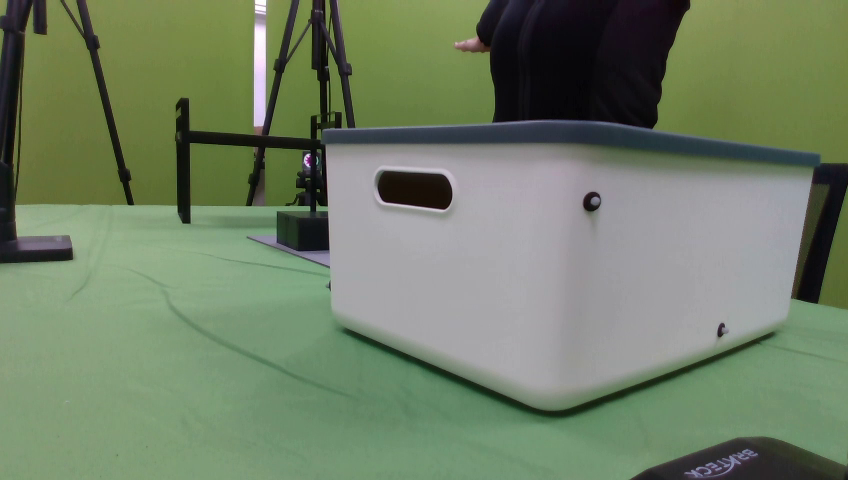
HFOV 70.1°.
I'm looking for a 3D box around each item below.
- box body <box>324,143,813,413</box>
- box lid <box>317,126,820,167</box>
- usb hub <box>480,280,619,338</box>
[{"bbox_3d":[0.125,0.000,0.510,0.366,0.160,0.253,-4,9,-40],"label":"box body"},{"bbox_3d":[0.129,-0.073,0.502,0.374,0.015,0.262,-4,10,-40],"label":"box lid"},{"bbox_3d":[0.111,0.057,0.525,0.126,0.025,0.049,-5,13,-35],"label":"usb hub"}]
